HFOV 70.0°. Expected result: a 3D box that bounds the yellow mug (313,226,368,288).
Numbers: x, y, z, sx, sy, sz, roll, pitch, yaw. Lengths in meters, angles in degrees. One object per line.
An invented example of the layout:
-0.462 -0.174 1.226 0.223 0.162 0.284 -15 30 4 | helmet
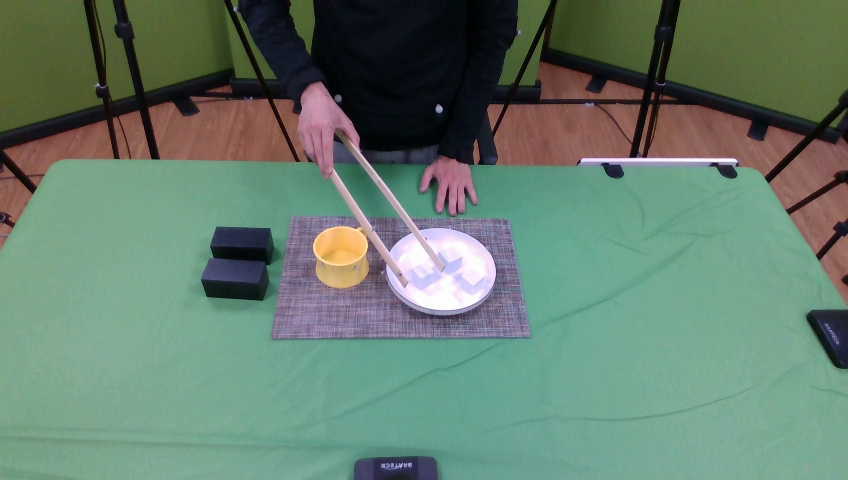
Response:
-0.146 0.021 1.132 0.099 0.064 0.130 24 49 19 | yellow mug

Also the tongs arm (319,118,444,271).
-0.082 -0.092 1.120 0.028 0.028 0.386 -29 68 -25 | tongs arm

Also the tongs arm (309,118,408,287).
-0.119 -0.077 1.099 0.051 0.026 0.383 -25 66 -27 | tongs arm

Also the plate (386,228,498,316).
0.032 0.062 1.126 0.208 0.039 0.206 2 46 -2 | plate
